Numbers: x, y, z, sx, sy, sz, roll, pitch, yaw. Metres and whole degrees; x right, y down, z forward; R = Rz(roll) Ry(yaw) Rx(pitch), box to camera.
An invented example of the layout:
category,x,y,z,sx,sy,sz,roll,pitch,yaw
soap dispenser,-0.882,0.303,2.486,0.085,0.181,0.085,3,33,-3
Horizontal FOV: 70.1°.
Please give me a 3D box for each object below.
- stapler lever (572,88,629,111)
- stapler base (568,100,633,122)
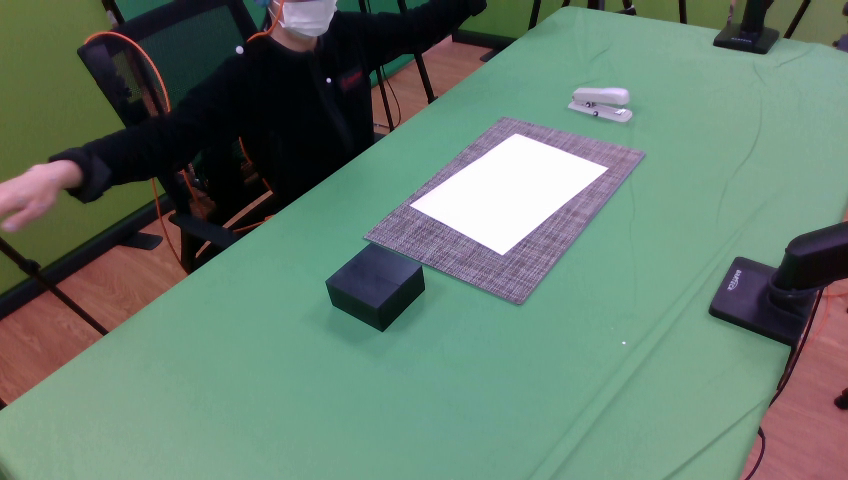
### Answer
category,x,y,z,sx,sy,sz,roll,pitch,yaw
stapler lever,0.357,-0.292,1.222,0.117,0.040,0.027,25,49,33
stapler base,0.361,-0.273,1.237,0.129,0.024,0.041,24,48,34
